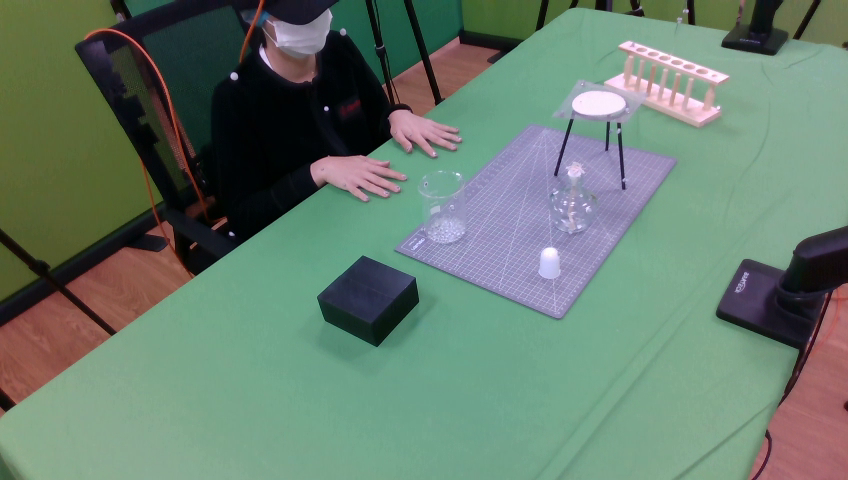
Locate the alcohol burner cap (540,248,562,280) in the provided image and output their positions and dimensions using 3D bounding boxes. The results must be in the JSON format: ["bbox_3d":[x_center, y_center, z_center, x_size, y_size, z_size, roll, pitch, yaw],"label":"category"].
[{"bbox_3d":[0.187,0.032,0.888,0.034,0.048,0.033,-4,39,4],"label":"alcohol burner cap"}]

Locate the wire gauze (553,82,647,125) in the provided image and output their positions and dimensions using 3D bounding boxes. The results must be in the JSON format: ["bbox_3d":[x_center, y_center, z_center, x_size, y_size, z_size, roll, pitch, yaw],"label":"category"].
[{"bbox_3d":[0.293,-0.225,1.003,0.120,0.011,0.125,17,45,27],"label":"wire gauze"}]

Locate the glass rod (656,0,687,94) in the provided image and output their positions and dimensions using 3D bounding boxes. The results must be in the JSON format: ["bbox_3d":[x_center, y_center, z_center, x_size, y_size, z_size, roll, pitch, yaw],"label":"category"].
[{"bbox_3d":[0.491,-0.381,1.199,0.008,0.200,0.008,1,41,0],"label":"glass rod"}]

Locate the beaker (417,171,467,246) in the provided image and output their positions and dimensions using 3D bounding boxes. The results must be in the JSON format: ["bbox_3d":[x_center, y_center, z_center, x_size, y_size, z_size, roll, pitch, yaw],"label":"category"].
[{"bbox_3d":[0.034,-0.049,0.965,0.084,0.101,0.073,-32,45,-27],"label":"beaker"}]

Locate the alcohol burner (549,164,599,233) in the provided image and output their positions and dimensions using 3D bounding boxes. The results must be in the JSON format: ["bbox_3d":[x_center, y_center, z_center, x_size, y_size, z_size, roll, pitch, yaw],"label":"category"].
[{"bbox_3d":[0.236,-0.069,0.946,0.078,0.119,0.077,-3,41,3],"label":"alcohol burner"}]

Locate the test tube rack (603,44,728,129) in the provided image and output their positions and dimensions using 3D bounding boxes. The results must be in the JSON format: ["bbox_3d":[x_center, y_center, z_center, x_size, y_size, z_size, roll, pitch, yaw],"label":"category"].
[{"bbox_3d":[0.480,-0.316,1.227,0.067,0.085,0.240,-28,44,-22],"label":"test tube rack"}]

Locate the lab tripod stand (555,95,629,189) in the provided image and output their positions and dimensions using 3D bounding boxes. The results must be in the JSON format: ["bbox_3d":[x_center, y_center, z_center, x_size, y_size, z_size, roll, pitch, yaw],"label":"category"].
[{"bbox_3d":[0.300,-0.174,1.045,0.148,0.132,0.147,-5,38,5],"label":"lab tripod stand"}]
